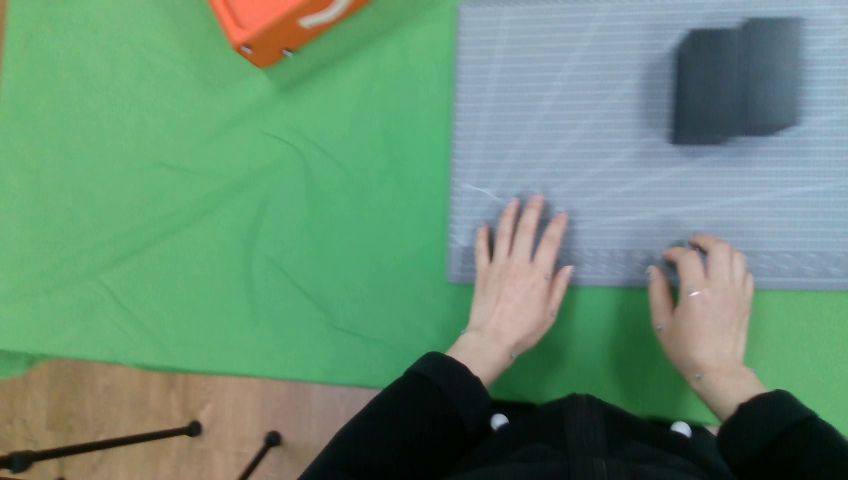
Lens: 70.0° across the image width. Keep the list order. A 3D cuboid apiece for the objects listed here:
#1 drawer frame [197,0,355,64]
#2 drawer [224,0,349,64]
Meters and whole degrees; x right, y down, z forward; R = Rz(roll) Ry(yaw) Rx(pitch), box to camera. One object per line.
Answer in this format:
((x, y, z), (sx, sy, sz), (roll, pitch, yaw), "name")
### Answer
((-0.163, -0.330, 0.627), (0.201, 0.083, 0.213), (-32, 85, 6), "drawer frame")
((-0.162, -0.327, 0.631), (0.194, 0.073, 0.211), (-32, 84, 6), "drawer")
